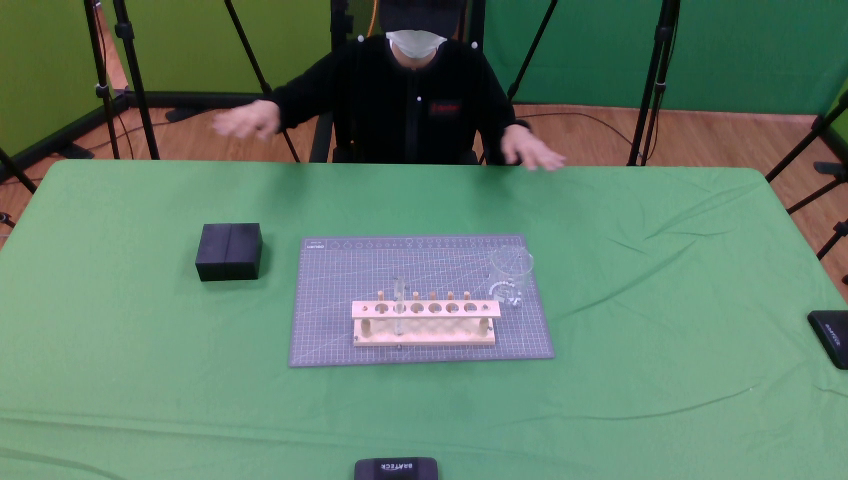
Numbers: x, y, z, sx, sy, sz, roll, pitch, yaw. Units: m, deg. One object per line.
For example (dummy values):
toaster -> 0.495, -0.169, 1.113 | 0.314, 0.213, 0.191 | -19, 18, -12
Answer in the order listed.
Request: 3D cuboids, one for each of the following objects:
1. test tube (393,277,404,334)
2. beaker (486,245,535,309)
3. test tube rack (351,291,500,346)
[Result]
test tube -> -0.041, 0.108, 0.973 | 0.017, 0.151, 0.017 | 2, 50, -2
beaker -> 0.149, 0.068, 1.087 | 0.084, 0.101, 0.073 | 13, 46, 9
test tube rack -> 0.001, 0.129, 1.026 | 0.242, 0.085, 0.066 | 0, 46, -4
